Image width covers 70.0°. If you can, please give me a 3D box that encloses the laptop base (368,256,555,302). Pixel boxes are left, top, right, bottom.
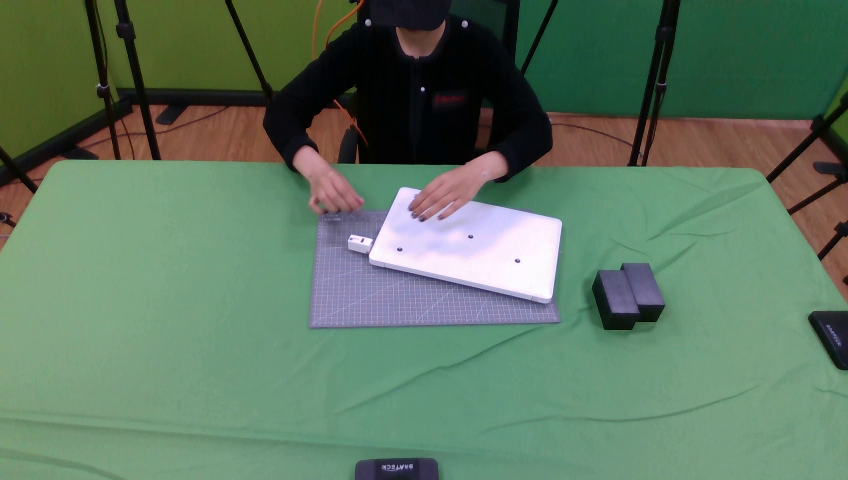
[{"bbox_3d":[0.089,0.005,1.205,0.354,0.023,0.234,12,42,8],"label":"laptop base"}]

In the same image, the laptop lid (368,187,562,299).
[{"bbox_3d":[0.090,-0.005,1.198,0.356,0.013,0.240,14,43,9],"label":"laptop lid"}]

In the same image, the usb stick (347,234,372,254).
[{"bbox_3d":[-0.117,0.009,1.166,0.059,0.027,0.021,15,45,7],"label":"usb stick"}]
